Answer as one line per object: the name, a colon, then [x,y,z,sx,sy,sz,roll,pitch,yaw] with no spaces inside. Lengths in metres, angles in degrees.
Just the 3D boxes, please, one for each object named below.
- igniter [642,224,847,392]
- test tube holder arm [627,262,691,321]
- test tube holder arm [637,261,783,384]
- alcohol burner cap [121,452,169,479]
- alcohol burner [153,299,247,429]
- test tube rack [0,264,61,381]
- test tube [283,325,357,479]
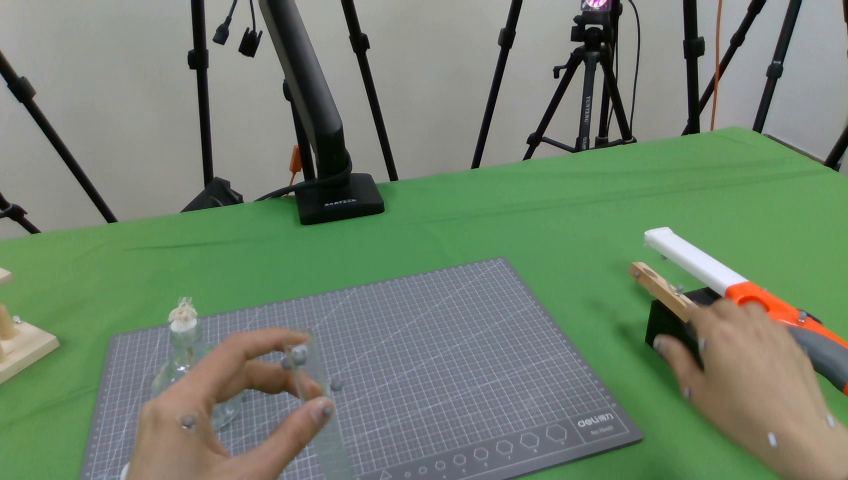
igniter: [0.298,0.050,0.566,0.057,0.025,0.273,-12,29,-13]
test tube holder arm: [0.226,0.048,0.581,0.010,0.015,0.087,-11,32,-19]
test tube holder arm: [0.248,0.068,0.547,0.013,0.015,0.176,-11,32,-20]
alcohol burner cap: [-0.211,0.182,0.457,0.034,0.048,0.033,-1,31,1]
alcohol burner: [-0.194,0.102,0.518,0.078,0.120,0.077,-2,30,1]
test tube rack: [-0.470,0.121,0.539,0.066,0.086,0.242,15,35,26]
test tube: [-0.053,0.110,0.337,0.017,0.151,0.017,-7,29,4]
